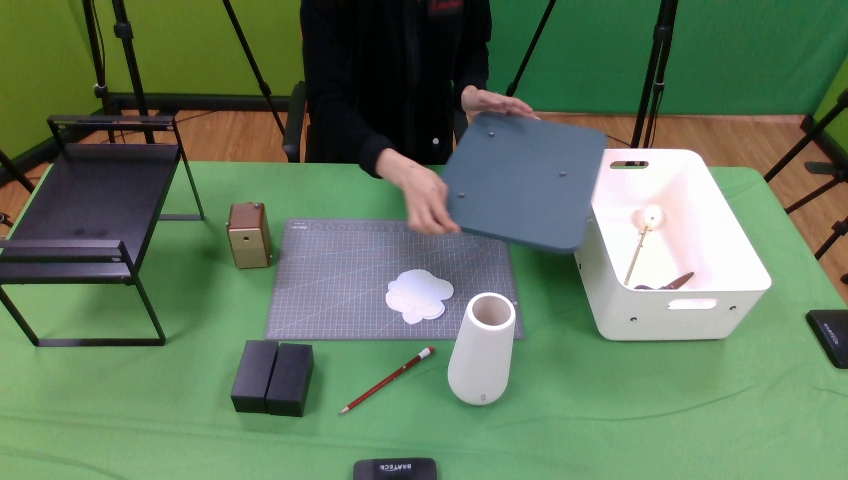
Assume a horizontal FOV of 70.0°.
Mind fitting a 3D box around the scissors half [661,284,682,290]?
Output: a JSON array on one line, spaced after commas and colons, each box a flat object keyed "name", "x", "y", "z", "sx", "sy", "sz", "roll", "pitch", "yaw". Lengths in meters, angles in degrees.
[{"name": "scissors half", "x": 0.453, "y": 0.095, "z": 1.144, "sx": 0.175, "sy": 0.040, "sz": 0.013, "roll": -16, "pitch": 92, "yaw": -32}]

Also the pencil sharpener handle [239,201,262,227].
[{"name": "pencil sharpener handle", "x": -0.325, "y": -0.055, "z": 1.149, "sx": 0.036, "sy": 0.068, "sz": 0.030, "roll": -13, "pitch": 46, "yaw": 4}]

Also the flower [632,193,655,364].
[{"name": "flower", "x": 0.422, "y": 0.068, "z": 1.187, "sx": 0.038, "sy": 0.044, "sz": 0.360, "roll": 21, "pitch": 65, "yaw": -17}]

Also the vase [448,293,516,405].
[{"name": "vase", "x": 0.091, "y": 0.169, "z": 0.921, "sx": 0.098, "sy": 0.201, "sz": 0.097, "roll": 3, "pitch": 47, "yaw": -3}]

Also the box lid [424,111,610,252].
[{"name": "box lid", "x": 0.174, "y": -0.117, "z": 1.059, "sx": 0.263, "sy": 0.015, "sz": 0.370, "roll": 12, "pitch": 43, "yaw": 14}]

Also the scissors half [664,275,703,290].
[{"name": "scissors half", "x": 0.460, "y": 0.092, "z": 1.132, "sx": 0.175, "sy": 0.040, "sz": 0.013, "roll": -18, "pitch": 87, "yaw": -26}]

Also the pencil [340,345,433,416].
[{"name": "pencil", "x": -0.058, "y": 0.227, "z": 0.984, "sx": 0.194, "sy": 0.012, "sz": 0.012, "roll": -32, "pitch": 56, "yaw": -29}]

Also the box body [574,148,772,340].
[{"name": "box body", "x": 0.421, "y": 0.003, "z": 1.130, "sx": 0.254, "sy": 0.161, "sz": 0.361, "roll": 0, "pitch": 46, "yaw": -5}]

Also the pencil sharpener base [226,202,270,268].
[{"name": "pencil sharpener base", "x": -0.323, "y": -0.010, "z": 1.123, "sx": 0.061, "sy": 0.107, "sz": 0.076, "roll": -3, "pitch": 46, "yaw": -7}]
